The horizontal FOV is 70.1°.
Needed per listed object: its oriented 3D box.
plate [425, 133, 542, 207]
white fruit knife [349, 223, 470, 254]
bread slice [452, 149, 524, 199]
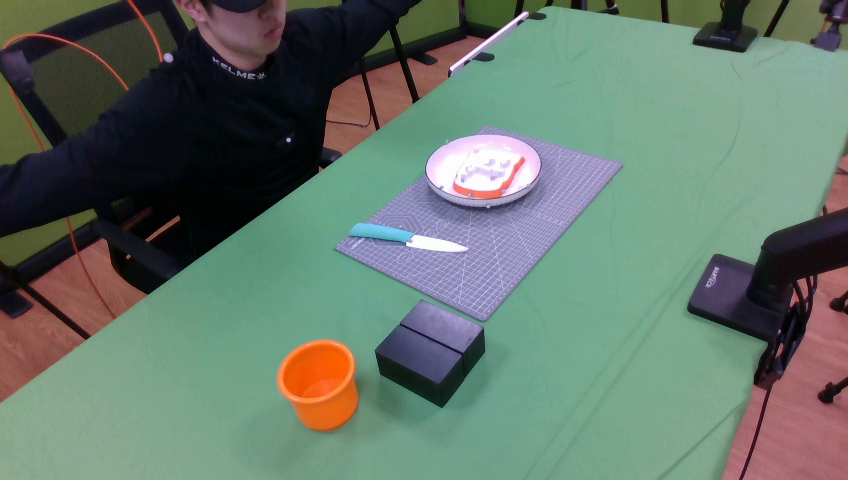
[{"bbox_3d":[0.106,-0.121,1.079,0.209,0.038,0.208,-4,41,4],"label":"plate"},{"bbox_3d":[-0.025,-0.001,0.976,0.206,0.016,0.027,11,73,17],"label":"white fruit knife"},{"bbox_3d":[0.111,-0.119,1.078,0.104,0.019,0.131,12,43,21],"label":"bread slice"}]
